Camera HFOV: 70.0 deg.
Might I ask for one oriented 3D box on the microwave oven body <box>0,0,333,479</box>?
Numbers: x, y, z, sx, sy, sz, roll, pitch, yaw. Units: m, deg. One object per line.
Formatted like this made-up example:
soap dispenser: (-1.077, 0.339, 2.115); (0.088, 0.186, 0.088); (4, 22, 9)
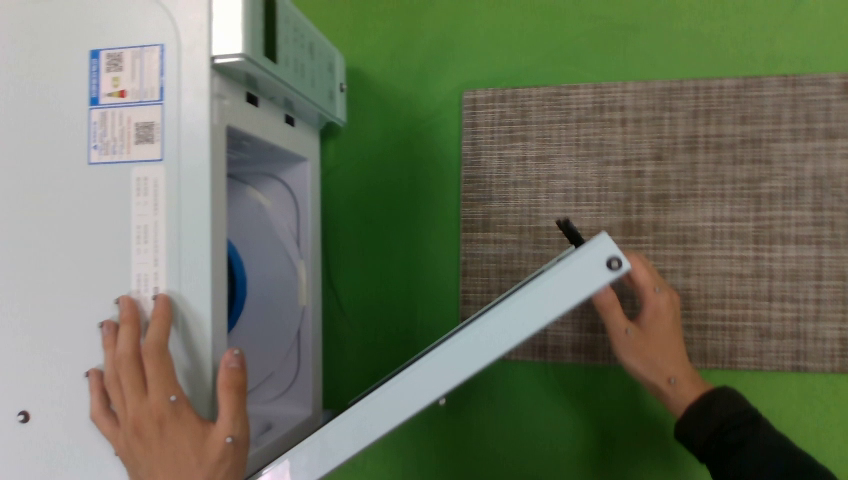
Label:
microwave oven body: (-0.270, 0.005, 0.607); (0.325, 0.261, 0.441); (-2, 90, 10)

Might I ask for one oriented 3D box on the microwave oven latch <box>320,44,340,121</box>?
microwave oven latch: (-0.111, -0.175, 0.676); (0.030, 0.029, 0.079); (-1, 90, 10)

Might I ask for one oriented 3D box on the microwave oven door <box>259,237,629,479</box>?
microwave oven door: (0.014, 0.112, 0.547); (0.356, 0.244, 0.039); (-37, 82, 8)
